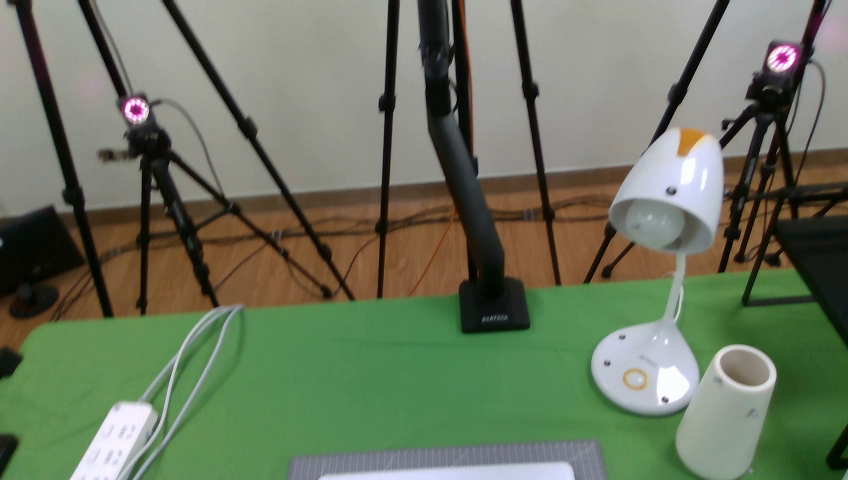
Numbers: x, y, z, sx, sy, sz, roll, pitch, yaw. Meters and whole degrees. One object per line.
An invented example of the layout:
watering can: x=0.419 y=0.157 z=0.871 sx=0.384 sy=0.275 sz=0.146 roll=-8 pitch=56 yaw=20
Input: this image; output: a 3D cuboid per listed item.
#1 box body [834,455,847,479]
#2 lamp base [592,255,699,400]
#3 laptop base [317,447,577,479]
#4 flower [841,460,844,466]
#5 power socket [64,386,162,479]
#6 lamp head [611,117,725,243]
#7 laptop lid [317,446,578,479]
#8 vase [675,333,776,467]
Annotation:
box body: x=0.630 y=0.365 z=0.607 sx=0.254 sy=0.162 sz=0.360 roll=-3 pitch=42 yaw=4
lamp base: x=0.345 y=0.117 z=0.906 sx=0.159 sy=0.182 sz=0.179 roll=21 pitch=46 yaw=27
laptop base: x=0.029 y=0.382 z=0.769 sx=0.354 sy=0.023 sz=0.233 roll=-4 pitch=45 yaw=3
flower: x=0.557 y=0.404 z=0.634 sx=0.038 sy=0.044 sz=0.357 roll=-39 pitch=42 yaw=31
power socket: x=-0.466 y=0.312 z=0.897 sx=0.072 sy=0.033 sz=0.225 roll=2 pitch=42 yaw=8
lamp head: x=0.280 y=-0.071 z=0.673 sx=0.111 sy=0.113 sz=0.122 roll=18 pitch=65 yaw=25
laptop lid: x=0.028 y=0.376 z=0.760 sx=0.356 sy=0.013 sz=0.239 roll=-3 pitch=44 yaw=4
vase: x=0.389 y=0.208 z=0.785 sx=0.098 sy=0.202 sz=0.097 roll=-5 pitch=41 yaw=4
